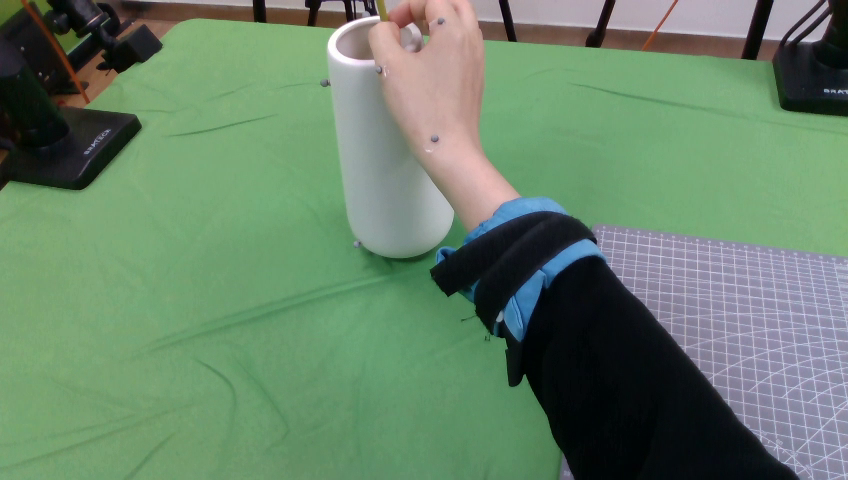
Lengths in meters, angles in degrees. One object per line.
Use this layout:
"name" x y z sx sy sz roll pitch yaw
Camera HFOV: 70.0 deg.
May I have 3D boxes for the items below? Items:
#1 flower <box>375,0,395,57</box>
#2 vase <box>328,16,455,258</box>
"flower" -0.023 -0.131 0.434 0.038 0.365 0.043 -34 48 -21
"vase" -0.025 -0.077 0.505 0.098 0.202 0.097 -2 47 3
